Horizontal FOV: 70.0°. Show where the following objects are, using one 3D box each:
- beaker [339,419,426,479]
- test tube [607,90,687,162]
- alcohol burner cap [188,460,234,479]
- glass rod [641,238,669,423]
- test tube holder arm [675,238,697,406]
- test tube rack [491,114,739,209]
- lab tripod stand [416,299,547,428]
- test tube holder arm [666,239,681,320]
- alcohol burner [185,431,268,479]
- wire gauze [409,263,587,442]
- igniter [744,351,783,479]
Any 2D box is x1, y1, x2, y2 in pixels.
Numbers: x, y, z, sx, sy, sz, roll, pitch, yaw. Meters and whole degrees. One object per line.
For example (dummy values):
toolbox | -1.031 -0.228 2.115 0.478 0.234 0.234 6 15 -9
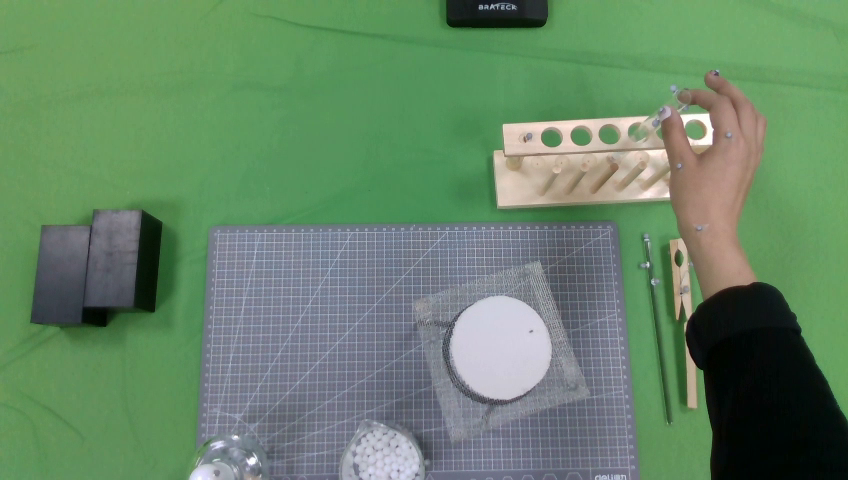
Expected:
beaker | -0.039 0.208 0.572 0.074 0.100 0.083 -22 78 -6
test tube | 0.218 -0.109 0.606 0.017 0.150 0.017 1 77 -5
alcohol burner cap | -0.187 0.207 0.525 0.034 0.048 0.033 1 68 -2
glass rod | 0.248 0.094 0.651 0.008 0.008 0.198 -2 77 -2
test tube holder arm | 0.279 0.086 0.648 0.013 0.015 0.177 -9 76 31
test tube rack | 0.199 -0.082 0.650 0.242 0.085 0.066 -3 77 -2
lab tripod stand | 0.055 0.109 0.578 0.148 0.132 0.147 0 78 1
test tube holder arm | 0.274 0.043 0.660 0.010 0.015 0.087 -8 77 31
alcohol burner | -0.187 0.217 0.559 0.078 0.119 0.077 0 75 0
wire gauze | 0.061 0.092 0.513 0.121 0.011 0.124 -17 78 -3
igniter | 0.337 0.251 0.611 0.057 0.025 0.275 13 78 -8
